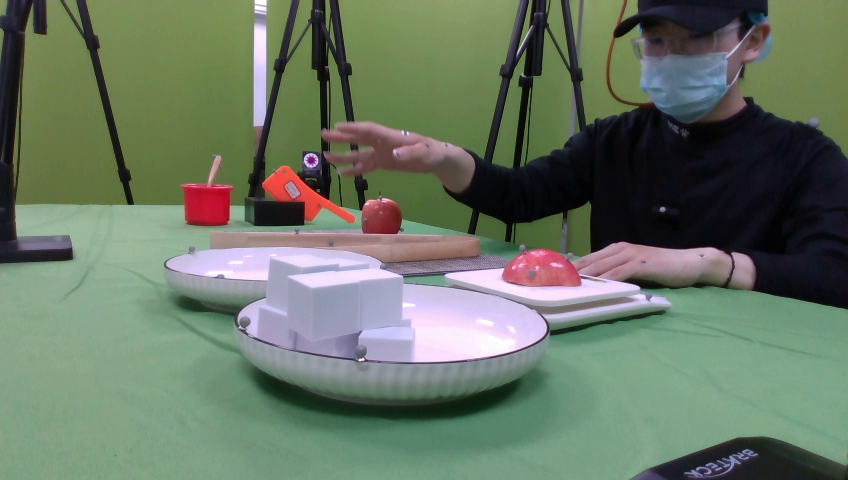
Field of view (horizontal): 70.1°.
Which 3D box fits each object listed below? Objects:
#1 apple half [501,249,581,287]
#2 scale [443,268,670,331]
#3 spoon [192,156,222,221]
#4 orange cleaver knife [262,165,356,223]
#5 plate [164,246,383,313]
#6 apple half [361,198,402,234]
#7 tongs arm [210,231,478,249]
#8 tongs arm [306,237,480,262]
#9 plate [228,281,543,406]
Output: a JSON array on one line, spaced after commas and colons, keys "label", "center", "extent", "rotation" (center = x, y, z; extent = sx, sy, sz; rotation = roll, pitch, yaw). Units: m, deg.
[{"label": "apple half", "center": [0.111, 0.024, 0.585], "extent": [0.081, 0.033, 0.081], "rotation": [2, 8, 0]}, {"label": "scale", "center": [0.131, 0.052, 0.603], "extent": [0.202, 0.031, 0.148], "rotation": [-2, 9, -37]}, {"label": "spoon", "center": [-0.430, -0.108, 1.222], "extent": [0.041, 0.021, 0.193], "rotation": [-1, 52, 0]}, {"label": "orange cleaver knife", "center": [-0.243, -0.081, 1.292], "extent": [0.212, 0.077, 0.012], "rotation": [34, -8, -26]}, {"label": "plate", "center": [-0.145, 0.038, 0.600], "extent": [0.209, 0.038, 0.209], "rotation": [2, 7, 0]}, {"label": "apple half", "center": [-0.066, -0.033, 1.014], "extent": [0.053, 0.074, 0.081], "rotation": [9, 6, 21]}, {"label": "tongs arm", "center": [-0.106, 0.004, 0.876], "extent": [0.386, 0.026, 0.050], "rotation": [0, 6, -20]}, {"label": "tongs arm", "center": [-0.070, 0.016, 0.801], "extent": [0.390, 0.028, 0.028], "rotation": [-2, 4, -34]}, {"label": "plate", "center": [-0.025, 0.067, 0.413], "extent": [0.208, 0.039, 0.207], "rotation": [3, 7, 0]}]
